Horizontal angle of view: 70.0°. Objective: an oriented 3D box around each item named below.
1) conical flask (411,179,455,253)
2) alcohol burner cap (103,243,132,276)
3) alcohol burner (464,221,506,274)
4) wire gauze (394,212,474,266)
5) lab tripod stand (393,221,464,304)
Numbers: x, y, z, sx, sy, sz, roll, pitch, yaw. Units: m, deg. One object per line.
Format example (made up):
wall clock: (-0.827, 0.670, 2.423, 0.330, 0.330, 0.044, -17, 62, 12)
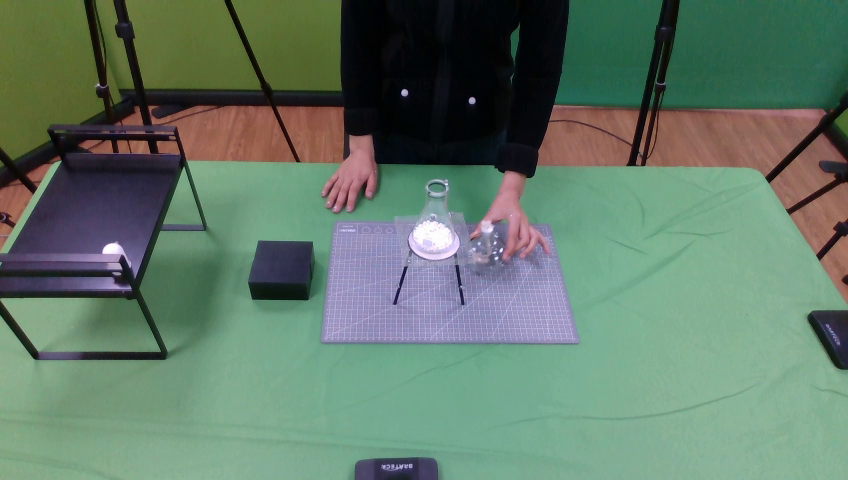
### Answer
conical flask: (0.017, -0.042, 0.985, 0.075, 0.122, 0.075, 2, 47, -2)
alcohol burner cap: (-0.446, 0.025, 0.875, 0.034, 0.048, 0.033, 3, 46, -3)
alcohol burner: (0.113, 0.008, 1.124, 0.078, 0.120, 0.077, -2, 49, 2)
wire gauze: (0.015, -0.001, 1.029, 0.125, 0.011, 0.120, -5, 45, -5)
lab tripod stand: (0.010, 0.046, 1.074, 0.148, 0.132, 0.147, 2, 48, -2)
